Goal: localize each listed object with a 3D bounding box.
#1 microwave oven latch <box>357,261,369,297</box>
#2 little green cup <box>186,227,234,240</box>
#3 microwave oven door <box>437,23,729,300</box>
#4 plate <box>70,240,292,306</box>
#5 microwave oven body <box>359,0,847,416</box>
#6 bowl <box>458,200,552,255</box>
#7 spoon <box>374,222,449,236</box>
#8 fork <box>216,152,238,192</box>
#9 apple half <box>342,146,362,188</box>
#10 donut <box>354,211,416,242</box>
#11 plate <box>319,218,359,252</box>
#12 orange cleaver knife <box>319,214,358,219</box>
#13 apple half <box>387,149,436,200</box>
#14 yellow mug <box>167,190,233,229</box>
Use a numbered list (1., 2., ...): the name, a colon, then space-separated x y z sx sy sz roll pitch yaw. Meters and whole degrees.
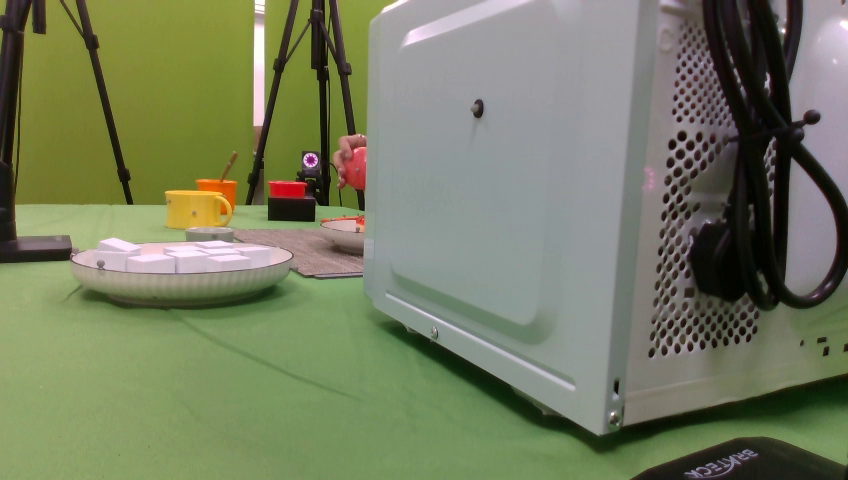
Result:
1. microwave oven latch: -0.019 0.033 0.531 0.079 0.029 0.030 -1 7 -27
2. little green cup: -0.284 0.005 0.805 0.061 0.038 0.061 2 8 0
3. microwave oven door: 0.181 -0.072 0.621 0.358 0.243 0.039 -2 8 -29
4. plate: -0.242 0.031 0.618 0.208 0.039 0.207 2 8 0
5. microwave oven body: 0.211 -0.047 0.474 0.444 0.260 0.324 -1 7 -28
6. bowl: 0.128 -0.020 0.977 0.151 0.077 0.151 3 8 0
7. spoon: -0.028 -0.025 1.179 0.193 0.021 0.042 9 25 41
8. fork: -0.455 -0.132 1.366 0.028 0.018 0.207 -2 -35 -38
9. apple half: -0.099 -0.122 1.024 0.081 0.081 0.032 1 13 -12
10. donut: -0.062 -0.020 0.955 0.099 0.048 0.099 5 7 0
11. plate: -0.059 -0.007 0.939 0.209 0.038 0.209 3 8 0
12. orange cleaver knife: -0.142 -0.057 1.395 0.077 0.012 0.212 2 7 44
13. apple half: -0.012 -0.100 0.920 0.053 0.074 0.081 0 -5 41
14. yellow mug: -0.415 -0.057 1.132 0.130 0.064 0.100 6 8 16
